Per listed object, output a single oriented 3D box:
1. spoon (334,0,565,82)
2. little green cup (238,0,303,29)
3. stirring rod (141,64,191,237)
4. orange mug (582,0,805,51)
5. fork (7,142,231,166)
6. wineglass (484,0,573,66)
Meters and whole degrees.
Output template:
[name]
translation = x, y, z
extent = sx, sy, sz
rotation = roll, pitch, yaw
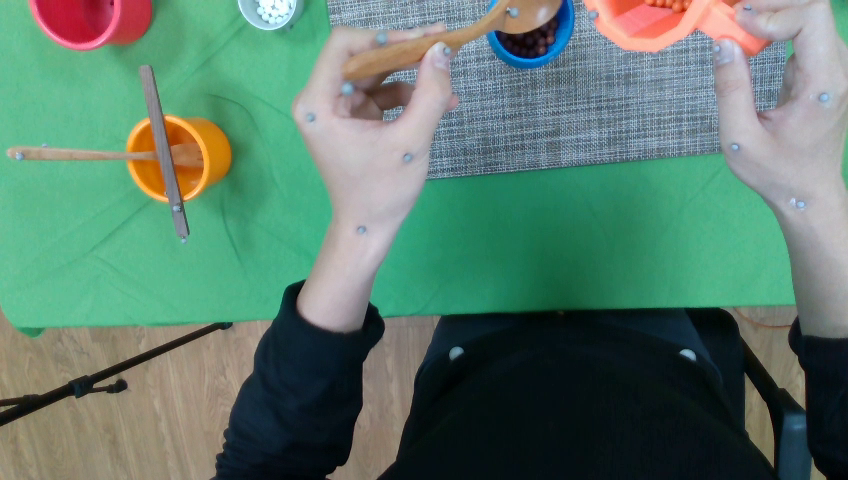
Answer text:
[spoon]
translation = 0.025, -0.123, 0.352
extent = 0.021, 0.193, 0.042
rotation = 41, 140, 18
[little green cup]
translation = -0.155, -0.247, 0.621
extent = 0.061, 0.038, 0.062
rotation = 2, 107, 7
[stirring rod]
translation = -0.264, -0.089, 0.621
extent = 0.014, 0.006, 0.177
rotation = -4, 105, 9
[orange mug]
translation = 0.176, -0.170, 0.390
extent = 0.125, 0.101, 0.084
rotation = 48, 147, 21
[fork]
translation = -0.306, -0.089, 0.628
extent = 0.208, 0.018, 0.028
rotation = -5, 118, -37
[wineglass]
translation = 0.090, -0.190, 0.534
extent = 0.073, 0.171, 0.074
rotation = 2, 106, 7
